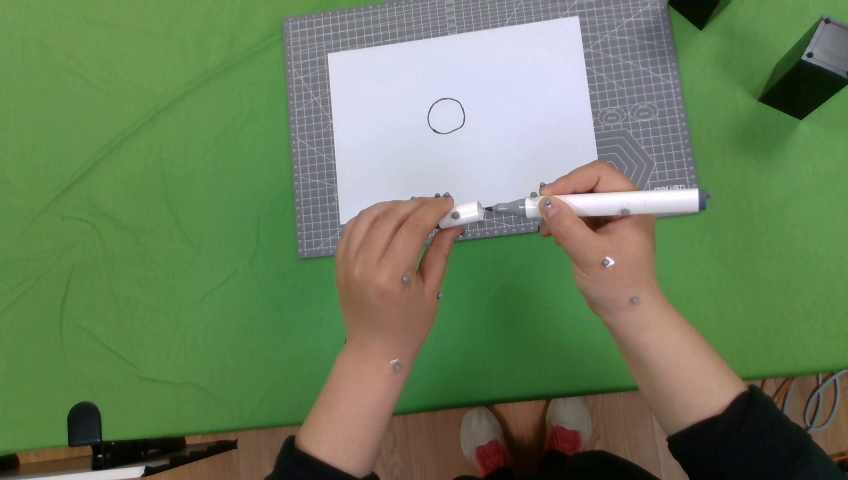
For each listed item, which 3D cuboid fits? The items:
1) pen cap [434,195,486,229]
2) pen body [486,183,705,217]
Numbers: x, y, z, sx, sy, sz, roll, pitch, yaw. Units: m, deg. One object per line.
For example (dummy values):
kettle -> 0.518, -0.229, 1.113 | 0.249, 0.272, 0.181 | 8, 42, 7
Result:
pen cap -> 0.026, -0.019, 0.444 | 0.038, 0.017, 0.017 | -18, 79, 26
pen body -> 0.111, -0.026, 0.410 | 0.143, 0.017, 0.017 | -2, 81, 21
